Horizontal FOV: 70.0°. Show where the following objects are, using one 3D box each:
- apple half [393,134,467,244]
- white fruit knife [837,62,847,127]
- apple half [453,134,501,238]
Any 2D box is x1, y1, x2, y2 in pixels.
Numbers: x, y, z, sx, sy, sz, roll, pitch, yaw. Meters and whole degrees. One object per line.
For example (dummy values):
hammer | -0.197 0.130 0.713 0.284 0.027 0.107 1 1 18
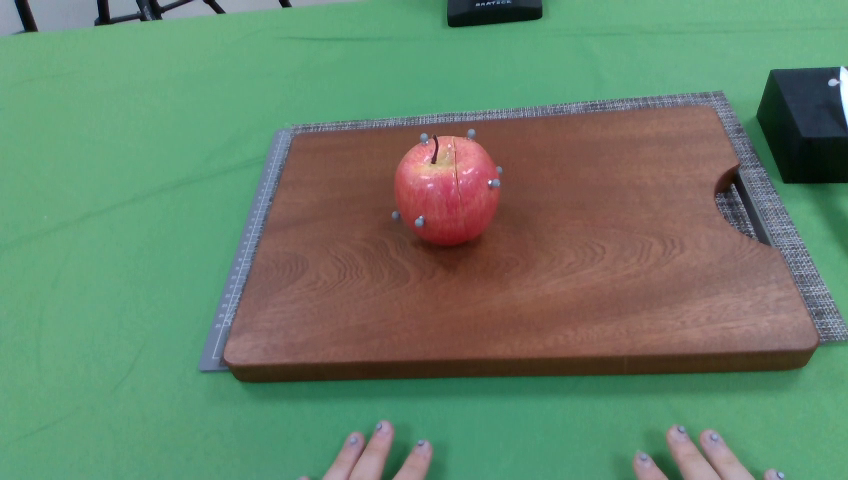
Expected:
apple half | 0.004 -0.037 0.467 0.053 0.075 0.080 -8 50 7
white fruit knife | 0.344 -0.053 0.464 0.027 0.016 0.206 -1 67 8
apple half | 0.043 -0.042 0.463 0.033 0.082 0.080 -9 46 7
